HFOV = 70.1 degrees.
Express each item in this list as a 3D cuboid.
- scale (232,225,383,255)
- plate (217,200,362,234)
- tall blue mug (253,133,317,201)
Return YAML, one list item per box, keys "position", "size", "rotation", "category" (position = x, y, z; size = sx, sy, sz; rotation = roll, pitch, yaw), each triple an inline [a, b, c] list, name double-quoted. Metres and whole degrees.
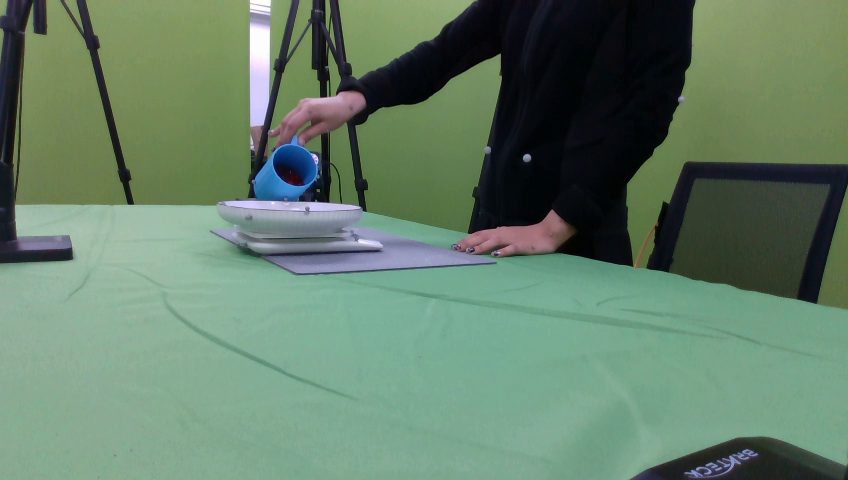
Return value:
- position: [-0.177, -0.004, 0.920]
  size: [0.202, 0.031, 0.148]
  rotation: [-1, 9, -30]
  category: "scale"
- position: [-0.196, -0.034, 0.894]
  size: [0.209, 0.038, 0.209]
  rotation: [2, 6, 0]
  category: "plate"
- position: [-0.238, -0.118, 1.009]
  size: [0.078, 0.107, 0.107]
  rotation: [-18, -6, -34]
  category: "tall blue mug"
